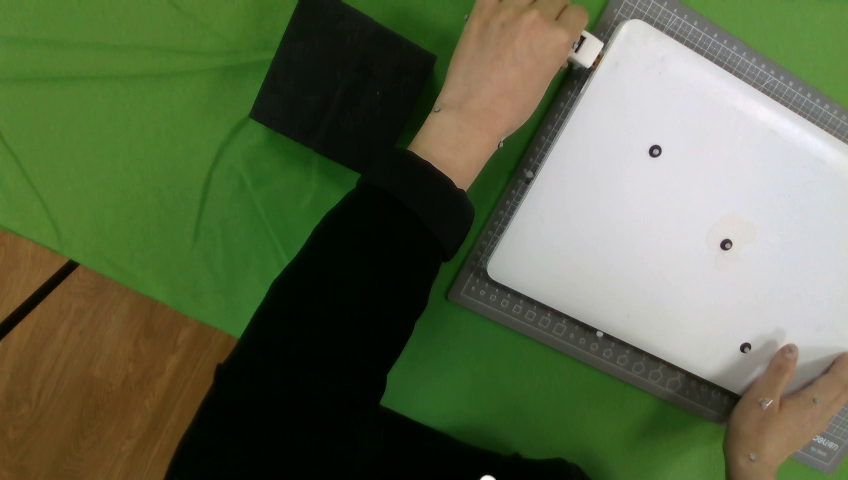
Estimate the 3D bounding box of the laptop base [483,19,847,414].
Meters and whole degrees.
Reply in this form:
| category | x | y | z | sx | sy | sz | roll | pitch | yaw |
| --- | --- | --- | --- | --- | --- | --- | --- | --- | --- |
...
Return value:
| category | x | y | z | sx | sy | sz | roll | pitch | yaw |
| --- | --- | --- | --- | --- | --- | --- | --- | --- | --- |
| laptop base | 0.254 | -0.002 | 0.531 | 0.356 | 0.023 | 0.236 | 25 | 107 | -12 |

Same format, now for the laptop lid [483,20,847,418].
| category | x | y | z | sx | sy | sz | roll | pitch | yaw |
| --- | --- | --- | --- | --- | --- | --- | --- | --- | --- |
| laptop lid | 0.254 | 0.003 | 0.521 | 0.358 | 0.013 | 0.242 | 27 | 105 | -12 |

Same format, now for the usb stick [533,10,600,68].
| category | x | y | z | sx | sy | sz | roll | pitch | yaw |
| --- | --- | --- | --- | --- | --- | --- | --- | --- | --- |
| usb stick | 0.113 | -0.148 | 0.459 | 0.059 | 0.027 | 0.021 | 27 | 110 | -23 |
